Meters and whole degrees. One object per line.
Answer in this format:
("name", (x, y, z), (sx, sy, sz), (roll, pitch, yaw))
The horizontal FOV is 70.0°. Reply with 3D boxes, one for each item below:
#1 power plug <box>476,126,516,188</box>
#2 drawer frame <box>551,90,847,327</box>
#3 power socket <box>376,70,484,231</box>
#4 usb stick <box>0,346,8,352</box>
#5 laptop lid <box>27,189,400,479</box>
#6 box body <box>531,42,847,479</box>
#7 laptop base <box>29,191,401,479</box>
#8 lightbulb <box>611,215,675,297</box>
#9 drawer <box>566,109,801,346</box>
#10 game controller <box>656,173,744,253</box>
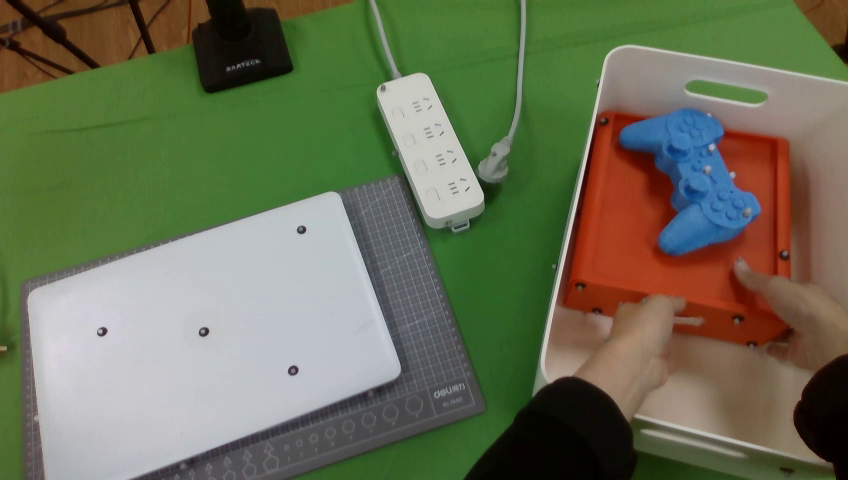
("power plug", (0.091, -0.093, 0.707), (0.035, 0.053, 0.072), (39, 54, 24))
("drawer frame", (0.243, -0.031, 0.578), (0.083, 0.212, 0.202), (-44, 102, -4))
("power socket", (0.004, -0.113, 0.724), (0.072, 0.033, 0.224), (-18, 64, -7))
("usb stick", (-0.470, 0.108, 0.634), (0.059, 0.021, 0.027), (8, 64, -30))
("laptop lid", (-0.225, 0.094, 0.628), (0.357, 0.013, 0.239), (-18, 67, -6))
("box body", (0.257, 0.018, 0.576), (0.253, 0.161, 0.362), (13, 65, 9))
("laptop base", (-0.224, 0.098, 0.640), (0.354, 0.023, 0.233), (-20, 68, -7))
("lightbulb", (0.218, 0.015, 0.622), (0.059, 0.060, 0.106), (-7, 49, 0))
("drawer", (0.265, -0.016, 0.623), (0.194, 0.074, 0.210), (13, 69, 12))
("game controller", (0.262, -0.067, 0.599), (0.097, 0.052, 0.154), (-8, 63, -5))
